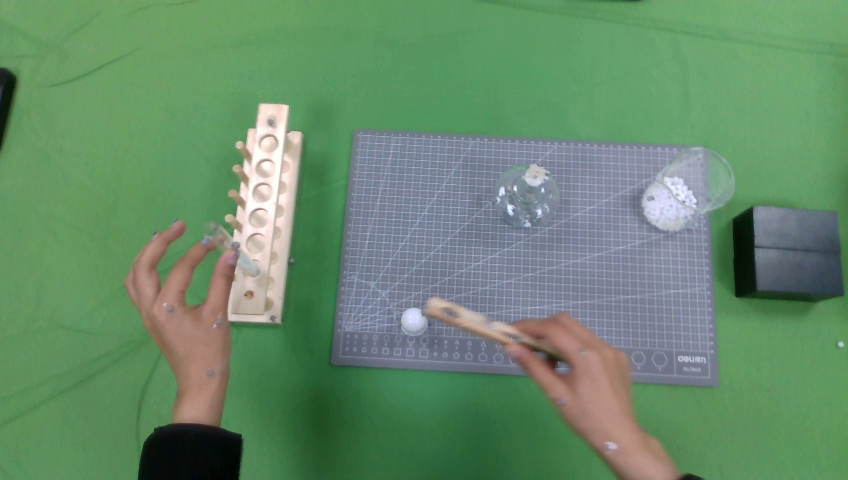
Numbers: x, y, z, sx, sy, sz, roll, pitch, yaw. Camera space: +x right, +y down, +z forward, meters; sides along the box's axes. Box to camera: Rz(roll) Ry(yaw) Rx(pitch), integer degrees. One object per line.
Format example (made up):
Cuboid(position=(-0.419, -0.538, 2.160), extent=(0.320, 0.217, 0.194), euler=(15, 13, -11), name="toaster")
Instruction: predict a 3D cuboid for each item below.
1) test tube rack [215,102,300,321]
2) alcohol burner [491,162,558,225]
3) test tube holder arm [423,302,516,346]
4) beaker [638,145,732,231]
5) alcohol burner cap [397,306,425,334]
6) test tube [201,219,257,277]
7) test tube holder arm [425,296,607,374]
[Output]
Cuboid(position=(-0.198, -0.032, 0.706), extent=(0.067, 0.085, 0.241), euler=(3, 76, 1), name="test tube rack")
Cuboid(position=(0.118, -0.059, 0.698), extent=(0.078, 0.119, 0.077), euler=(0, 76, 2), name="alcohol burner")
Cuboid(position=(0.042, 0.077, 0.549), extent=(0.088, 0.015, 0.010), euler=(21, 67, -6), name="test tube holder arm")
Cuboid(position=(0.295, -0.056, 0.706), extent=(0.084, 0.101, 0.073), euler=(2, 75, 2), name="beaker")
Cuboid(position=(-0.015, 0.090, 0.697), extent=(0.034, 0.048, 0.033), euler=(0, 76, -1), name="alcohol burner cap")
Cuboid(position=(-0.186, 0.012, 0.590), extent=(0.017, 0.151, 0.017), euler=(1, 71, -2), name="test tube")
Cuboid(position=(0.086, 0.088, 0.556), extent=(0.179, 0.015, 0.013), euler=(20, 67, -6), name="test tube holder arm")
